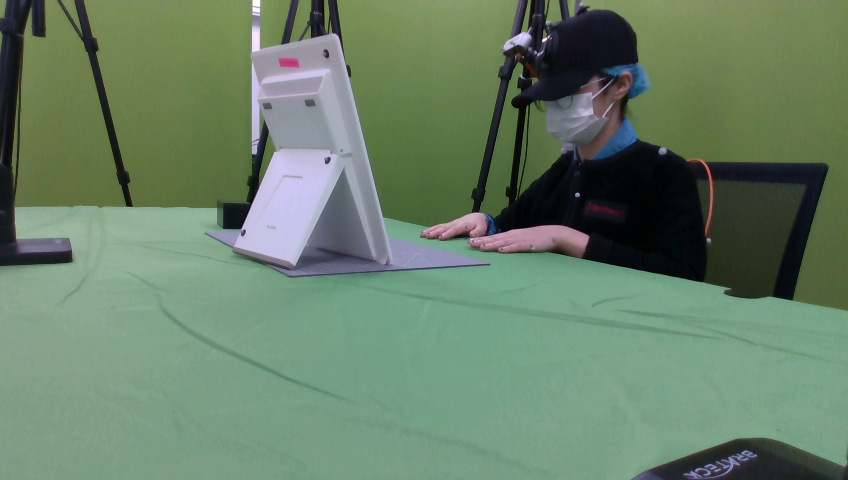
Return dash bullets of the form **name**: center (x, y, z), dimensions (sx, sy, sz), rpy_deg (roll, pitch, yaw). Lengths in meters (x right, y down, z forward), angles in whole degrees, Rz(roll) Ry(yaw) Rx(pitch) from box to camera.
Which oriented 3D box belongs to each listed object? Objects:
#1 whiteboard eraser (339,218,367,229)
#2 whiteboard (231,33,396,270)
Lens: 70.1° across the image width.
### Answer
- **whiteboard eraser**: center (-0.146, -0.036, 1.246), dimensions (0.041, 0.019, 0.101), rpy_deg (1, 5, 9)
- **whiteboard**: center (-0.193, -0.094, 0.805), dimensions (0.144, 0.305, 0.216), rpy_deg (-29, 25, -35)
